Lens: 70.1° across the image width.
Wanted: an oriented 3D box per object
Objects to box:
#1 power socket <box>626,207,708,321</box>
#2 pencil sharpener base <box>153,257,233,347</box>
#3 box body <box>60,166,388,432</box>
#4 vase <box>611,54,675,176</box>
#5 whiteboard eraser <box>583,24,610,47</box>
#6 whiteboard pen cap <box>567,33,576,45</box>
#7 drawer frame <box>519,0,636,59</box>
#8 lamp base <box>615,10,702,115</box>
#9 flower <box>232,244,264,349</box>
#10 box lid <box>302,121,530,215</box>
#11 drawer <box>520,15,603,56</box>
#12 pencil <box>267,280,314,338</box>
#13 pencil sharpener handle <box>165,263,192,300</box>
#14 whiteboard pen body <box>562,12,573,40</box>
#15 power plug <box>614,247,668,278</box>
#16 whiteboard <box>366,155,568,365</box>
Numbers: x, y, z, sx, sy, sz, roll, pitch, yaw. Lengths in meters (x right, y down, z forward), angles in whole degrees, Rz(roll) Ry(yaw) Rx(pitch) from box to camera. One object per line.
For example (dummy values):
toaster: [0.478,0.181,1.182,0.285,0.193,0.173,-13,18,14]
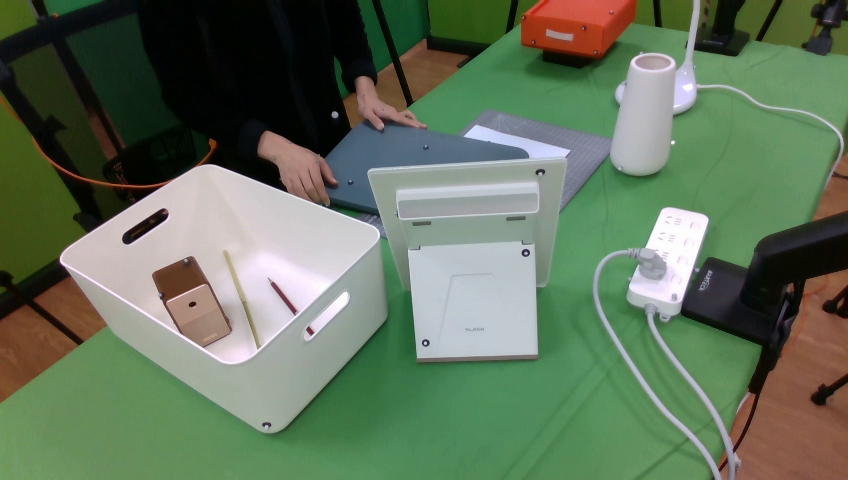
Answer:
power socket: [0.359,0.025,0.886,0.072,0.033,0.227,16,46,26]
pencil sharpener base: [-0.322,0.088,0.843,0.061,0.107,0.076,-27,44,-20]
box body: [-0.256,0.065,0.827,0.361,0.161,0.255,20,48,29]
vase: [0.377,-0.209,1.031,0.098,0.201,0.097,-3,40,3]
whiteboard eraser: [0.407,-0.479,1.423,0.055,0.042,0.113,-3,10,20]
whiteboard pen cap: [0.339,-0.463,1.390,0.018,0.018,0.033,-2,44,5]
drawer frame: [0.362,-0.518,1.423,0.200,0.083,0.214,19,48,29]
lamp base: [0.484,-0.363,1.211,0.180,0.181,0.159,-15,41,-14]
flower: [-0.245,0.106,0.869,0.044,0.038,0.358,6,30,-31]
box lid: [-0.009,-0.124,1.113,0.370,0.015,0.263,14,45,18]
drawer: [0.359,-0.517,1.416,0.193,0.073,0.212,20,47,29]
pencil: [-0.189,0.106,0.879,0.012,0.012,0.192,-28,43,-23]
pencil sharpener handle: [-0.353,0.054,0.867,0.036,0.068,0.030,-18,40,-28]
whiteboard pen body: [0.341,-0.506,1.430,0.017,0.017,0.140,-2,43,6]
power plug: [0.306,0.031,0.851,0.072,0.053,0.035,24,49,33]
whiteboard: [0.059,0.050,0.738,0.217,0.307,0.143,-2,60,5]
